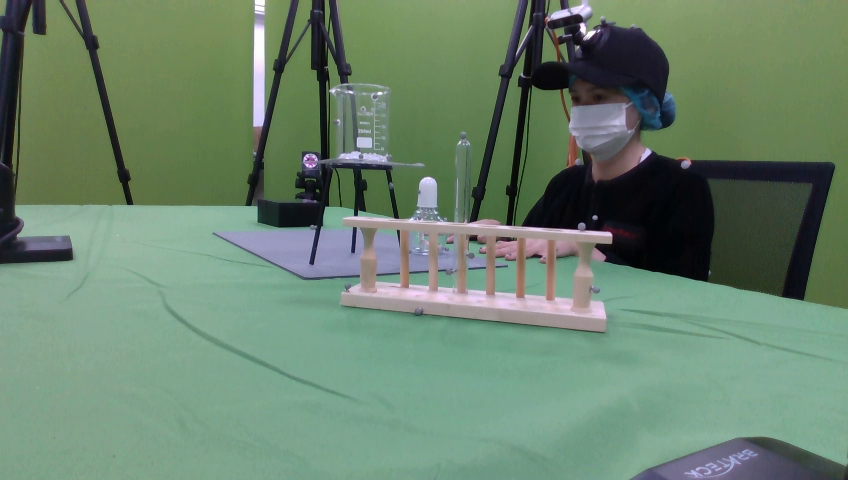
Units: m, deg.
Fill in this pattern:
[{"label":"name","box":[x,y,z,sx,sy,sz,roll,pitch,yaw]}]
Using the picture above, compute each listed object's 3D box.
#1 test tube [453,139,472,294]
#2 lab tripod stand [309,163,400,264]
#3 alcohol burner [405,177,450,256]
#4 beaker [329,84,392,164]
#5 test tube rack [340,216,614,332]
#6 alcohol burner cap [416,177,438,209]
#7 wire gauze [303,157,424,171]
[{"label":"test tube","box":[0.037,-0.021,0.584,0.017,0.150,0.017,1,7,0]},{"label":"lab tripod stand","box":[-0.091,-0.037,0.813,0.148,0.131,0.148,1,6,0]},{"label":"alcohol burner","box":[0.004,-0.036,0.917,0.078,0.119,0.078,3,5,0]},{"label":"beaker","box":[-0.084,-0.149,0.794,0.084,0.100,0.073,-1,6,-23]},{"label":"test tube rack","box":[0.048,0.026,0.568,0.242,0.085,0.067,4,8,13]},{"label":"alcohol burner cap","box":[0.005,-0.072,0.914,0.034,0.048,0.034,3,9,0]},{"label":"wire gauze","box":[-0.082,-0.101,0.799,0.126,0.011,0.121,1,7,-30]}]
